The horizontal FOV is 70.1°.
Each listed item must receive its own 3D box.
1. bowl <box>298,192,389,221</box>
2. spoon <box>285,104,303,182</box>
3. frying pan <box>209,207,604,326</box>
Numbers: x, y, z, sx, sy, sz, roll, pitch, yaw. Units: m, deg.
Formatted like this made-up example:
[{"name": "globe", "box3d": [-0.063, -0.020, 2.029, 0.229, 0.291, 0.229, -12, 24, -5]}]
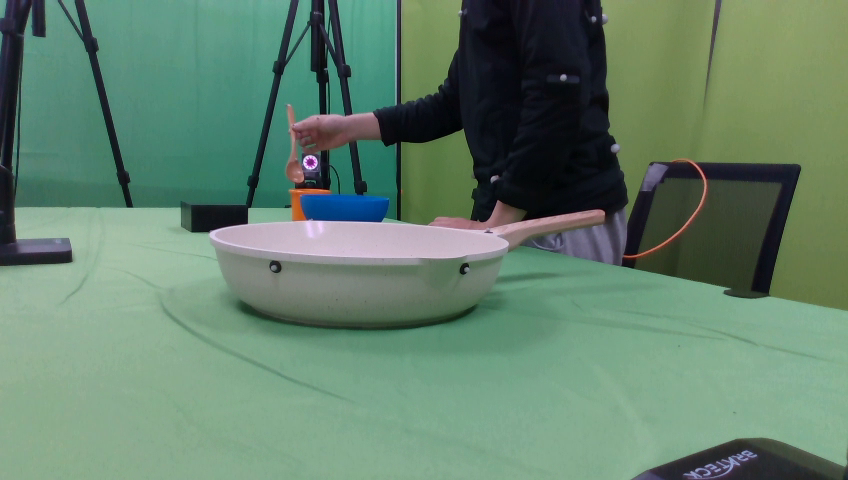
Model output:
[{"name": "bowl", "box3d": [-0.136, -0.037, 1.018, 0.151, 0.077, 0.151, 3, 7, 0]}, {"name": "spoon", "box3d": [-0.286, -0.212, 1.314, 0.042, 0.193, 0.021, 5, -20, -34]}, {"name": "frying pan", "box3d": [0.026, 0.005, 0.665, 0.490, 0.102, 0.305, -12, 14, -30]}]
